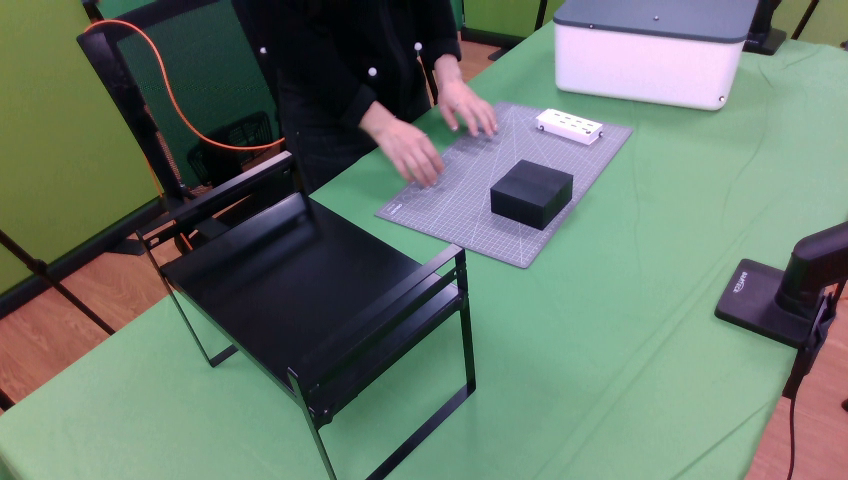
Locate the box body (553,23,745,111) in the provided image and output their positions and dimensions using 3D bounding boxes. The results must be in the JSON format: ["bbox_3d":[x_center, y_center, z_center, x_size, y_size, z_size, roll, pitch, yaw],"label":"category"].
[{"bbox_3d":[0.480,-0.417,1.282,0.362,0.161,0.254,15,46,24],"label":"box body"}]

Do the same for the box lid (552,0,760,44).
[{"bbox_3d":[0.471,-0.473,1.234,0.369,0.015,0.263,16,45,24],"label":"box lid"}]

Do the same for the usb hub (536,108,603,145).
[{"bbox_3d":[0.284,-0.225,1.188,0.124,0.025,0.049,28,52,35],"label":"usb hub"}]
